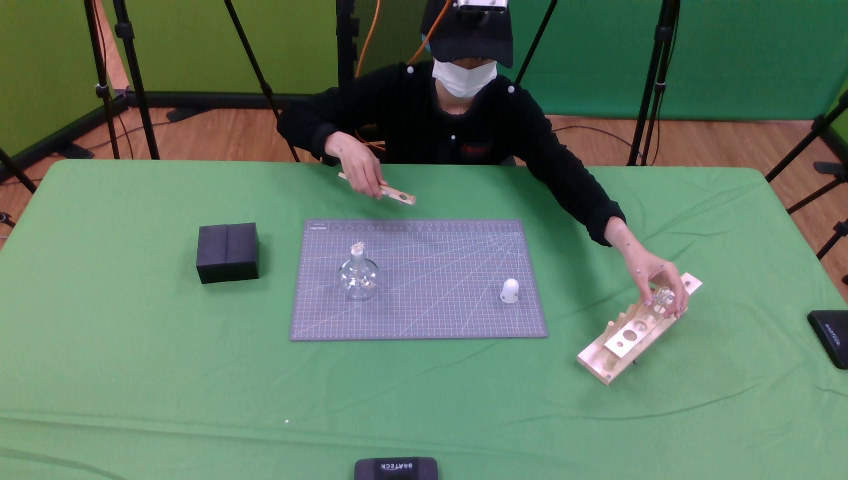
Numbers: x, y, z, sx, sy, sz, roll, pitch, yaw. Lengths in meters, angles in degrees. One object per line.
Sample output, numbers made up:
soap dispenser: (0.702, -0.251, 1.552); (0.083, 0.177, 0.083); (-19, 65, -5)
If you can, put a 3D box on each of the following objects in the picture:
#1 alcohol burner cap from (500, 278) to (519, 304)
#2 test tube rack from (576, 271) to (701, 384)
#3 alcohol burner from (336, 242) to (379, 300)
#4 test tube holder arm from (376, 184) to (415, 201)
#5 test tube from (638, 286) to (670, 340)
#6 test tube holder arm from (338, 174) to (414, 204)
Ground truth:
alcohol burner cap: (0.157, 0.090, 1.104); (0.034, 0.048, 0.033); (2, 46, -2)
test tube rack: (0.373, 0.138, 1.047); (0.242, 0.085, 0.066); (-31, 56, -29)
alcohol burner: (-0.118, 0.050, 1.072); (0.078, 0.120, 0.077); (2, 44, -1)
test tube holder arm: (-0.057, -0.093, 1.178); (0.087, 0.010, 0.015); (20, 3, 24)
test tube: (0.373, 0.122, 0.994); (0.017, 0.151, 0.017); (0, 51, 0)
test tube holder arm: (-0.098, -0.101, 1.197); (0.178, 0.013, 0.015); (19, 3, 24)
